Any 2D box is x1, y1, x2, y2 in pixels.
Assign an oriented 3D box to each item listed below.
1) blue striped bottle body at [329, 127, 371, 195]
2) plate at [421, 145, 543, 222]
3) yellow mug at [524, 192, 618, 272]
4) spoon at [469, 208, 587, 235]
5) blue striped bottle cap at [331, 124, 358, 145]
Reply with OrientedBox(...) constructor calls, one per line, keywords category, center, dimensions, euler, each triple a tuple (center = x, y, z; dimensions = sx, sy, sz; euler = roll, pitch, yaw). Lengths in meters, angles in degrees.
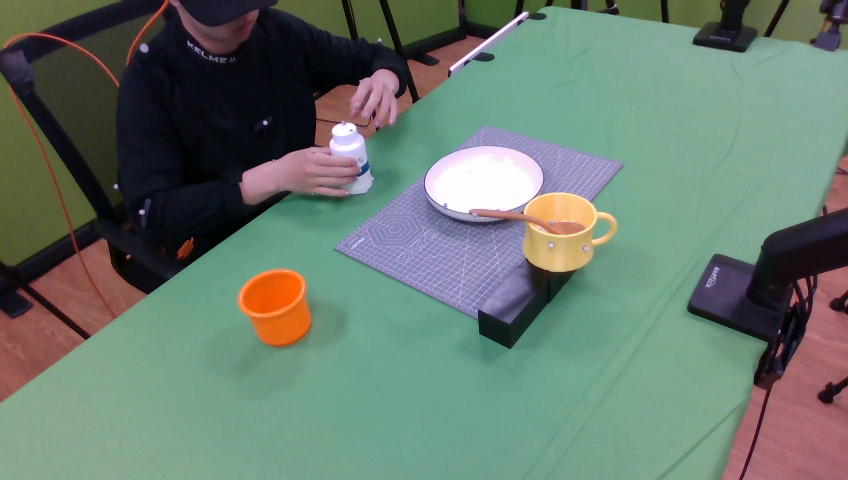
OrientedBox(category="blue striped bottle body", center=(-0.134, -0.146, 1.082), dimensions=(0.063, 0.121, 0.063), euler=(-3, 41, 3))
OrientedBox(category="plate", center=(0.101, -0.094, 1.048), dimensions=(0.207, 0.039, 0.206), euler=(-4, 41, 4))
OrientedBox(category="yellow mug", center=(0.206, -0.014, 0.845), dimensions=(0.131, 0.064, 0.099), euler=(-4, 41, 2))
OrientedBox(category="spoon", center=(0.143, -0.026, 0.817), dimensions=(0.195, 0.021, 0.041), euler=(12, 34, -29))
OrientedBox(category="blue striped bottle cap", center=(-0.138, -0.183, 1.048), dimensions=(0.044, 0.021, 0.044), euler=(-5, 38, 5))
